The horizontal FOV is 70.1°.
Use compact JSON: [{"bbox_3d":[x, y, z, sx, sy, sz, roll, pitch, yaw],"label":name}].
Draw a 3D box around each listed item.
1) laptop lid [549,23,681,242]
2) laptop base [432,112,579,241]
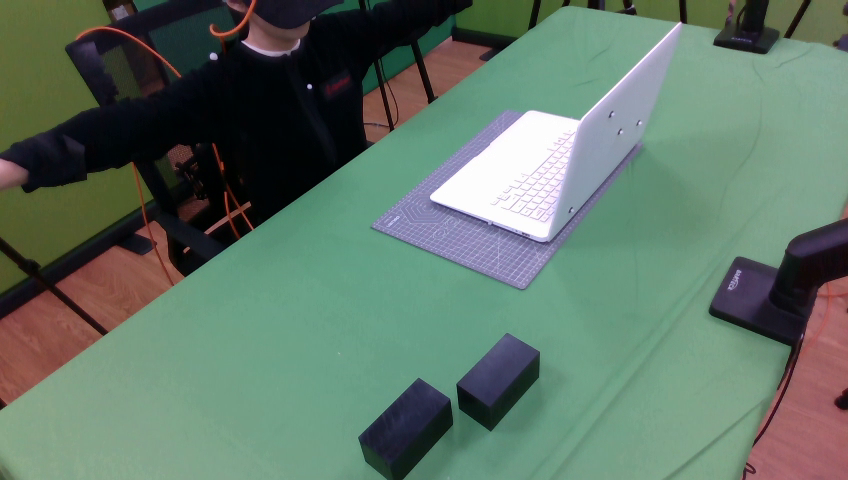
[{"bbox_3d":[0.304,-0.172,0.951,0.013,0.242,0.358,30,51,24],"label":"laptop lid"},{"bbox_3d":[0.208,-0.129,1.098,0.233,0.023,0.355,20,47,34],"label":"laptop base"}]
